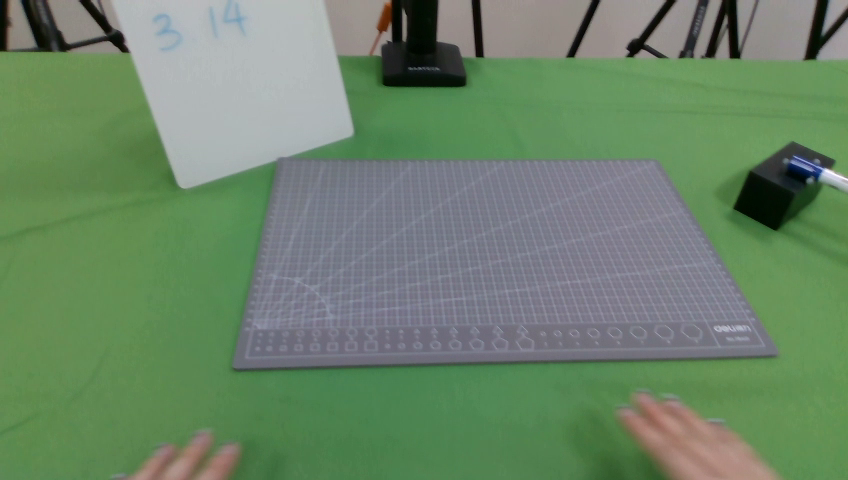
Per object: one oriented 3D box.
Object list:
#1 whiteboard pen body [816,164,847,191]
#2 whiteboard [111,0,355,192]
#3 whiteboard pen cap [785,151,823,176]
[{"bbox_3d":[0.435,-0.050,0.597,0.017,0.017,0.139,-32,52,-33],"label":"whiteboard pen body"},{"bbox_3d":[-0.234,-0.244,0.681,0.217,0.308,0.142,-25,29,-28],"label":"whiteboard"},{"bbox_3d":[0.394,-0.077,0.626,0.033,0.018,0.018,36,50,29],"label":"whiteboard pen cap"}]
